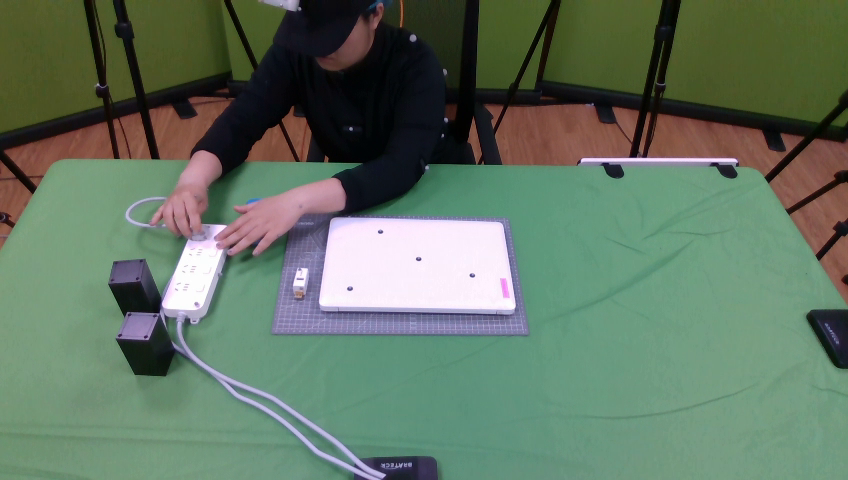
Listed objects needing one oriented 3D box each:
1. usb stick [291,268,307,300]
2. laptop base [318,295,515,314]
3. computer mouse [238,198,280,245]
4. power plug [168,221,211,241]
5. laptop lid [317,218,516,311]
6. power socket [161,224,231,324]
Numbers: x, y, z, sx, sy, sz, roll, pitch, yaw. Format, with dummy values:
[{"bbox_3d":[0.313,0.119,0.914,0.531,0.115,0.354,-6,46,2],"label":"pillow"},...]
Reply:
[{"bbox_3d":[-0.226,0.081,1.094,0.021,0.027,0.059,5,48,-2],"label":"usb stick"},{"bbox_3d":[-0.014,0.049,1.150,0.354,0.023,0.234,1,42,-3],"label":"laptop base"},{"bbox_3d":[-0.327,-0.040,1.201,0.063,0.041,0.116,6,50,-3],"label":"computer mouse"},{"bbox_3d":[-0.438,-0.015,1.148,0.072,0.053,0.035,5,49,21],"label":"power plug"},{"bbox_3d":[-0.013,0.040,1.143,0.357,0.013,0.240,3,43,-2],"label":"laptop lid"},{"bbox_3d":[-0.412,0.052,1.107,0.072,0.033,0.225,4,46,-2],"label":"power socket"}]
